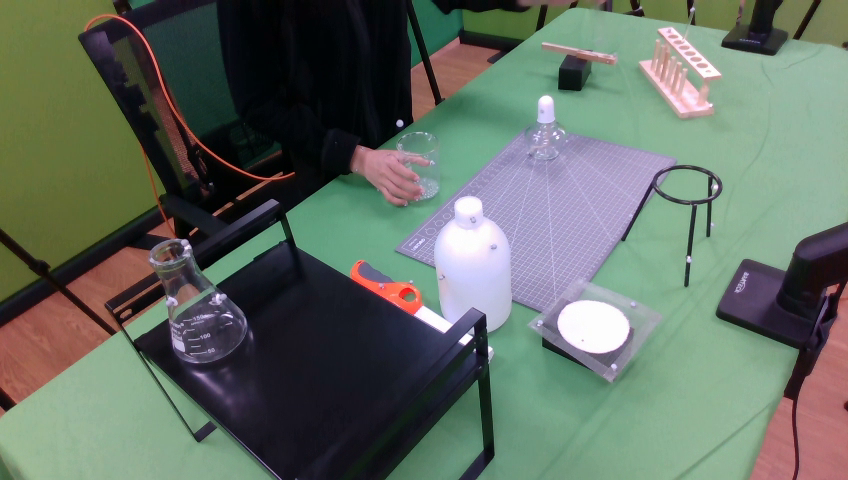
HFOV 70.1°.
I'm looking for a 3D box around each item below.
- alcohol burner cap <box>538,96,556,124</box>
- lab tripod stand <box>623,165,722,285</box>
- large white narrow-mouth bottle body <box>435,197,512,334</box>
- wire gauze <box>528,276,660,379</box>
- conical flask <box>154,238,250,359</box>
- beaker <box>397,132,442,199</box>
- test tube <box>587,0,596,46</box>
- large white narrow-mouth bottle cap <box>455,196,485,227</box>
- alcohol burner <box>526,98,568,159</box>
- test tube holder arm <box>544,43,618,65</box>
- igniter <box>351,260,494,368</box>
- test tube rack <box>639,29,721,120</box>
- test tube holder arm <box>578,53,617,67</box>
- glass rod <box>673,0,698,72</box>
[{"bbox_3d":[0.222,-0.237,1.095,0.034,0.048,0.033,-7,35,5],"label":"alcohol burner cap"},{"bbox_3d":[0.365,-0.030,0.874,0.148,0.132,0.147,-6,41,6],"label":"lab tripod stand"},{"bbox_3d":[0.066,0.028,0.805,0.102,0.195,0.101,-4,40,4],"label":"large white narrow-mouth bottle body"},{"bbox_3d":[0.213,0.103,0.763,0.124,0.011,0.122,30,52,35],"label":"wire gauze"},{"bbox_3d":[-0.225,0.055,0.597,0.075,0.122,0.075,-5,41,4],"label":"conical flask"},{"bbox_3d":[-0.004,-0.130,1.063,0.073,0.100,0.084,21,47,26],"label":"beaker"},{"bbox_3d":[0.308,-0.425,1.114,0.017,0.151,0.017,-9,49,11],"label":"test tube"},{"bbox_3d":[0.057,-0.036,0.749,0.038,0.024,0.037,-4,40,4],"label":"large white narrow-mouth bottle cap"},{"bbox_3d":[0.228,-0.210,1.118,0.078,0.119,0.077,-5,43,5],"label":"alcohol burner"},{"bbox_3d":[0.345,-0.413,1.341,0.177,0.015,0.013,25,50,32],"label":"test tube holder arm"},{"bbox_3d":[-0.013,0.098,0.864,0.274,0.025,0.057,30,66,36],"label":"igniter"},{"bbox_3d":[0.527,-0.351,1.262,0.067,0.085,0.241,-8,40,1],"label":"test tube rack"},{"bbox_3d":[0.376,-0.394,1.314,0.087,0.015,0.010,26,50,32],"label":"test tube holder arm"},{"bbox_3d":[0.538,-0.425,1.245,0.008,0.200,0.008,0,47,0],"label":"glass rod"}]
